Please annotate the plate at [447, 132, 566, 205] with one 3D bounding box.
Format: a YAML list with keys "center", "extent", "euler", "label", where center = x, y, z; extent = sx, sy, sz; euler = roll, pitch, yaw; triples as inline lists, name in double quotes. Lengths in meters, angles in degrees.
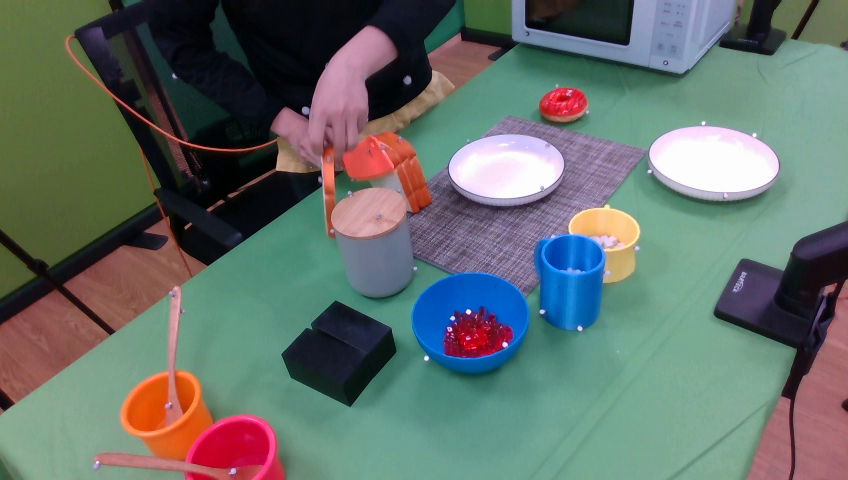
- center: [0.146, -0.124, 1.075]
  extent: [0.209, 0.038, 0.208]
  euler: [-3, 41, 3]
  label: "plate"

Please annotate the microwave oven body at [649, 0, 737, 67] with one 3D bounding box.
- center: [0.475, -0.602, 1.411]
  extent: [0.438, 0.261, 0.327]
  euler: [23, 50, 32]
  label: "microwave oven body"

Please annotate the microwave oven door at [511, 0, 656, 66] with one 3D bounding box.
- center: [0.351, -0.539, 1.349]
  extent: [0.353, 0.245, 0.039]
  euler: [24, 50, 31]
  label: "microwave oven door"

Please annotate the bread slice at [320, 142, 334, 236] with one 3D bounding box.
- center: [-0.147, -0.085, 0.920]
  extent: [0.019, 0.132, 0.104]
  euler: [-2, 55, -9]
  label: "bread slice"

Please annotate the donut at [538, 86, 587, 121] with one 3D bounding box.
- center: [0.283, -0.280, 1.239]
  extent: [0.099, 0.048, 0.098]
  euler: [-5, 42, 5]
  label: "donut"

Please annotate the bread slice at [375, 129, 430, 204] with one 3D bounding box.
- center: [-0.041, -0.128, 1.040]
  extent: [0.106, 0.135, 0.018]
  euler: [31, 60, 34]
  label: "bread slice"

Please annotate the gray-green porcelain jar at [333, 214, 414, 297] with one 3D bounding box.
- center: [-0.071, 0.012, 0.887]
  extent: [0.106, 0.127, 0.105]
  euler: [-4, 41, 4]
  label: "gray-green porcelain jar"

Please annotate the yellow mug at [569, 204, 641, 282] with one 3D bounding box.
- center: [0.268, -0.005, 0.904]
  extent: [0.099, 0.064, 0.130]
  euler: [7, 41, 15]
  label: "yellow mug"

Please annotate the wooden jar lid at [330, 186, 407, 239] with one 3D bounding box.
- center: [-0.077, -0.035, 0.847]
  extent: [0.108, 0.021, 0.108]
  euler: [-6, 41, 5]
  label: "wooden jar lid"

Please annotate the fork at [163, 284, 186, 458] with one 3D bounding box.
- center: [-0.302, 0.157, 0.733]
  extent: [0.028, 0.019, 0.207]
  euler: [-3, 84, 15]
  label: "fork"

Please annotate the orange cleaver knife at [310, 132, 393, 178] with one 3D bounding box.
- center: [-0.126, -0.140, 1.032]
  extent: [0.209, 0.077, 0.012]
  euler: [3, 34, 48]
  label: "orange cleaver knife"

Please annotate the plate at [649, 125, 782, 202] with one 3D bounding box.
- center: [0.493, -0.127, 1.036]
  extent: [0.207, 0.039, 0.206]
  euler: [-4, 41, 4]
  label: "plate"

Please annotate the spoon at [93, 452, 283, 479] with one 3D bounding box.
- center: [-0.240, 0.239, 0.632]
  extent: [0.195, 0.021, 0.041]
  euler: [26, 32, -32]
  label: "spoon"

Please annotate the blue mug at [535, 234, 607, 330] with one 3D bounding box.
- center: [0.191, 0.048, 0.824]
  extent: [0.082, 0.106, 0.115]
  euler: [-26, 44, -20]
  label: "blue mug"

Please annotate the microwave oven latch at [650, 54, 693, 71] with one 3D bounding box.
- center: [0.531, -0.386, 1.301]
  extent: [0.078, 0.029, 0.030]
  euler: [26, 51, 33]
  label: "microwave oven latch"

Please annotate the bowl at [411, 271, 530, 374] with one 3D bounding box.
- center: [0.061, 0.120, 0.780]
  extent: [0.151, 0.077, 0.150]
  euler: [-4, 40, 4]
  label: "bowl"
